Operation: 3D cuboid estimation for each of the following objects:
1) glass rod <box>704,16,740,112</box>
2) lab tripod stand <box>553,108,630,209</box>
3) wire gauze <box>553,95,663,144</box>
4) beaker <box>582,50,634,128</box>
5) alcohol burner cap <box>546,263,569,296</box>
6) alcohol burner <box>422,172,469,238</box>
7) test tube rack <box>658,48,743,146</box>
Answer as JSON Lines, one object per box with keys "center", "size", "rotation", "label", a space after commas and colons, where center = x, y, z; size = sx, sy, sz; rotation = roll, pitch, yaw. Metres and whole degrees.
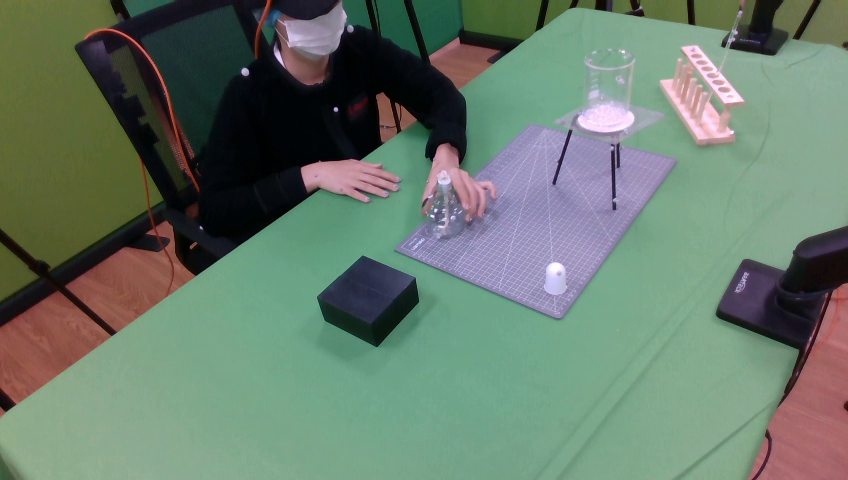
{"center": [0.549, -0.319, 1.117], "size": [0.008, 0.200, 0.008], "rotation": [-2, 47, 3], "label": "glass rod"}
{"center": [0.292, -0.144, 1.010], "size": [0.148, 0.132, 0.147], "rotation": [-5, 38, 4], "label": "lab tripod stand"}
{"center": [0.293, -0.191, 0.964], "size": [0.125, 0.011, 0.120], "rotation": [-29, 45, -29], "label": "wire gauze"}
{"center": [0.285, -0.234, 0.939], "size": [0.084, 0.101, 0.073], "rotation": [-28, 43, -23], "label": "beaker"}
{"center": [0.191, 0.053, 0.862], "size": [0.034, 0.048, 0.033], "rotation": [-5, 40, 5], "label": "alcohol burner cap"}
{"center": [0.034, -0.061, 0.966], "size": [0.078, 0.119, 0.077], "rotation": [-2, 43, 2], "label": "alcohol burner"}
{"center": [0.532, -0.284, 1.180], "size": [0.067, 0.085, 0.241], "rotation": [-5, 40, 4], "label": "test tube rack"}
